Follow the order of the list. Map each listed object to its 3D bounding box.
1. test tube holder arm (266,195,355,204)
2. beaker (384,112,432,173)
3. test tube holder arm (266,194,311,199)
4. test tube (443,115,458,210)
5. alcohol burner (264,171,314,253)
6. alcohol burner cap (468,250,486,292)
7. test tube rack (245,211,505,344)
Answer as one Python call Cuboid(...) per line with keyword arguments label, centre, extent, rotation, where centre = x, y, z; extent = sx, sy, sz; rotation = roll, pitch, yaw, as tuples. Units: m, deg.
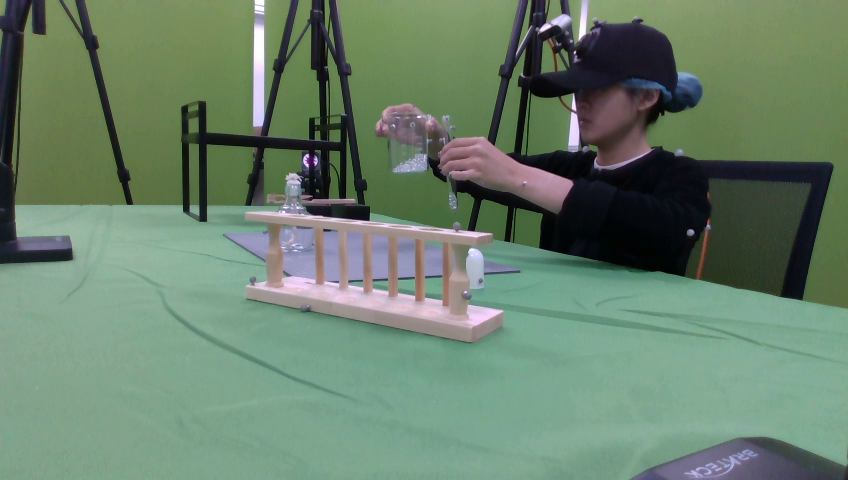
Cuboid(label="test tube holder arm", centre=(-0.222, -0.081, 1.196), extent=(0.179, 0.013, 0.015), rotation=(-4, 3, -30))
Cuboid(label="beaker", centre=(-0.025, -0.164, 1.030), extent=(0.084, 0.100, 0.074), rotation=(1, 7, 22))
Cuboid(label="test tube holder arm", centre=(-0.262, -0.084, 1.173), extent=(0.088, 0.010, 0.015), rotation=(-3, 2, -30))
Cuboid(label="test tube", centre=(0.043, -0.123, 0.963), extent=(0.017, 0.150, 0.017), rotation=(-4, 7, 1))
Cuboid(label="alcohol burner", centre=(-0.194, -0.042, 0.888), extent=(0.078, 0.119, 0.078), rotation=(3, 5, 0))
Cuboid(label="alcohol burner cap", centre=(0.056, 0.035, 0.690), extent=(0.034, 0.048, 0.034), rotation=(2, 7, 0))
Cuboid(label="test tube rack", centre=(-0.049, 0.025, 0.547), extent=(0.241, 0.085, 0.067), rotation=(7, 8, 29))
